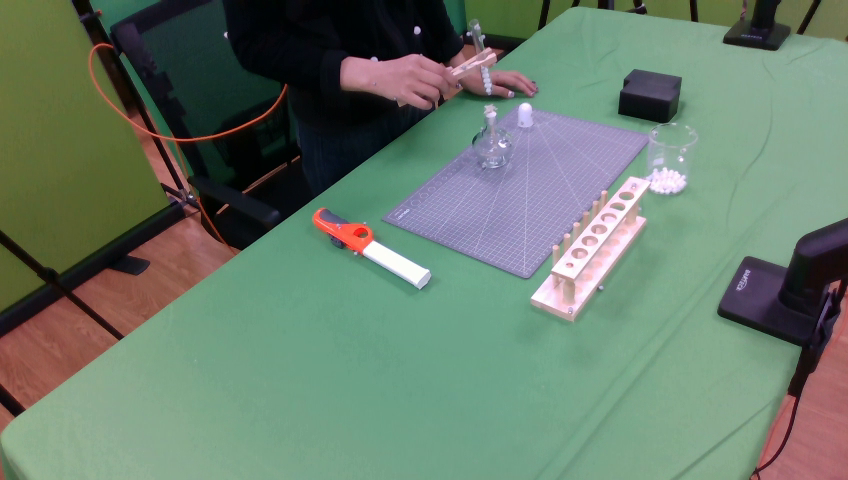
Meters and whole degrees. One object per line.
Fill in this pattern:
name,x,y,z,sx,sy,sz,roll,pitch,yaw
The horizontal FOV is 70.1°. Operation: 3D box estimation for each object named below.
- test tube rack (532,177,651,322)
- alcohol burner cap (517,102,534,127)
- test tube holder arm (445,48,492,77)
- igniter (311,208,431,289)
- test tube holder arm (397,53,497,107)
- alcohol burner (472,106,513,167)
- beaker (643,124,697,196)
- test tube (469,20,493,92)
test tube rack,0.247,0.002,0.883,0.066,0.085,0.243,22,49,32
alcohol burner cap,0.205,-0.255,1.223,0.034,0.048,0.033,-6,41,6
test tube holder arm,0.074,-0.290,1.001,0.088,0.015,0.010,-33,54,-5
igniter,-0.096,0.008,0.986,0.274,0.025,0.057,28,62,36
test tube holder arm,0.037,-0.264,0.997,0.178,0.015,0.013,-26,53,0
alcohol burner,0.125,-0.195,1.111,0.078,0.119,0.077,-5,42,5
beaker,0.407,-0.132,1.001,0.084,0.101,0.073,-20,42,-13
test tube,0.096,-0.299,0.997,0.017,0.151,0.017,-7,58,13
